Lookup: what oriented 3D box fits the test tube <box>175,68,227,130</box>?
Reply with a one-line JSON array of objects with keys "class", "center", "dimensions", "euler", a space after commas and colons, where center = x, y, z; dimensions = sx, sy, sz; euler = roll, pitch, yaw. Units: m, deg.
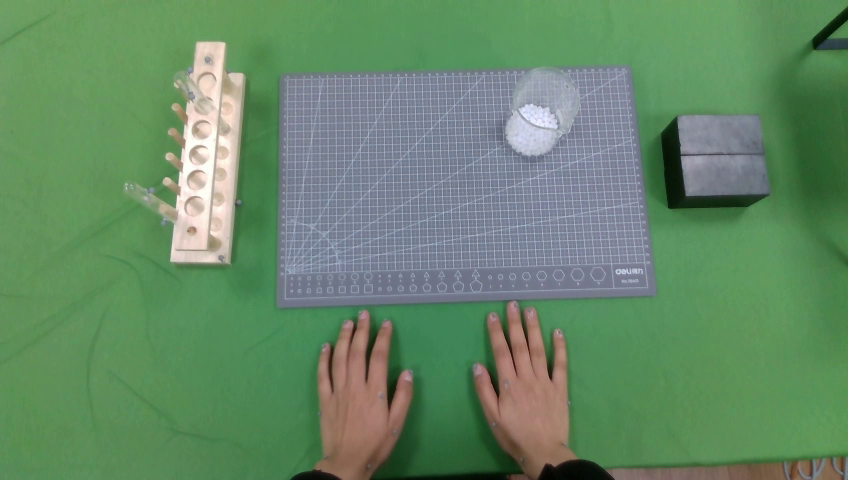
[{"class": "test tube", "center": [-0.242, -0.151, 0.667], "dimensions": [0.017, 0.150, 0.017], "euler": [1, 82, -4]}]

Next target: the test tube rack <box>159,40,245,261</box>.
[{"class": "test tube rack", "center": [-0.262, -0.102, 0.706], "dimensions": [0.067, 0.085, 0.241], "euler": [1, 78, -1]}]

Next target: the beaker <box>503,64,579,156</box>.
[{"class": "beaker", "center": [0.135, -0.145, 0.713], "dimensions": [0.074, 0.100, 0.083], "euler": [-30, 80, -7]}]

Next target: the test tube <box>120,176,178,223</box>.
[{"class": "test tube", "center": [-0.284, -0.040, 0.646], "dimensions": [0.017, 0.151, 0.017], "euler": [0, 78, -1]}]
